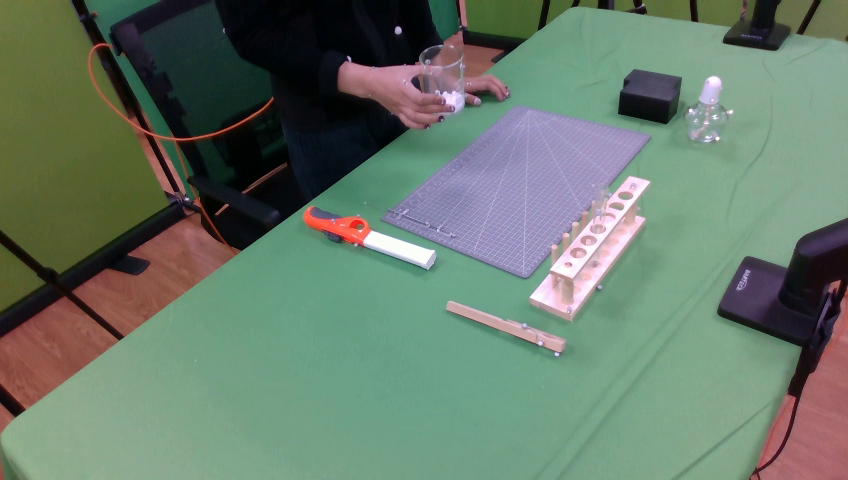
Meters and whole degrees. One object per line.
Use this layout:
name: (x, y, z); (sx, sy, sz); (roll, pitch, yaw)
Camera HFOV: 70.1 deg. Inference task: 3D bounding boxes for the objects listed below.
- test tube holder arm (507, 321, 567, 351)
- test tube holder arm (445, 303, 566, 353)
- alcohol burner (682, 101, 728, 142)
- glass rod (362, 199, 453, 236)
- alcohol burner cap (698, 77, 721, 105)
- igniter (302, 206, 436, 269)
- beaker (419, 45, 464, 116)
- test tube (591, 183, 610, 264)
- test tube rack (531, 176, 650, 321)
test tube holder arm: (0.148, 0.128, 0.808); (0.087, 0.015, 0.010); (16, 11, 28)
test tube holder arm: (0.107, 0.117, 0.824); (0.177, 0.015, 0.013); (16, 11, 27)
alcohol burner: (0.513, -0.239, 1.097); (0.078, 0.119, 0.077); (-4, 40, 4)
glass rod: (-0.032, -0.041, 1.041); (0.198, 0.008, 0.008); (22, 50, 31)
alcohol burner cap: (0.509, -0.266, 1.072); (0.034, 0.048, 0.033); (-4, 48, 5)
igniter: (-0.101, -0.007, 1.005); (0.274, 0.025, 0.057); (19, 58, 29)
beaker: (0.031, -0.270, 1.039); (0.073, 0.101, 0.084); (18, 51, 24)
test tube: (0.242, -0.019, 0.832); (0.017, 0.151, 0.017); (-5, 46, 6)
test tube rack: (0.246, 0.002, 0.884); (0.066, 0.085, 0.243); (22, 49, 32)
